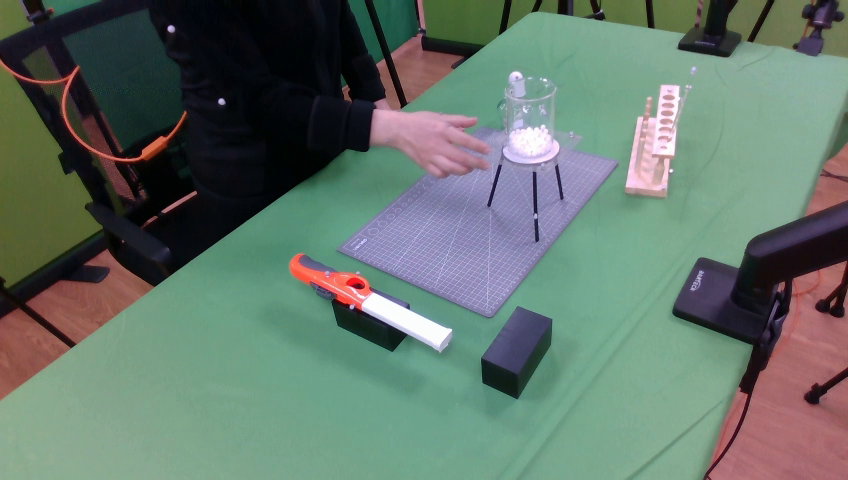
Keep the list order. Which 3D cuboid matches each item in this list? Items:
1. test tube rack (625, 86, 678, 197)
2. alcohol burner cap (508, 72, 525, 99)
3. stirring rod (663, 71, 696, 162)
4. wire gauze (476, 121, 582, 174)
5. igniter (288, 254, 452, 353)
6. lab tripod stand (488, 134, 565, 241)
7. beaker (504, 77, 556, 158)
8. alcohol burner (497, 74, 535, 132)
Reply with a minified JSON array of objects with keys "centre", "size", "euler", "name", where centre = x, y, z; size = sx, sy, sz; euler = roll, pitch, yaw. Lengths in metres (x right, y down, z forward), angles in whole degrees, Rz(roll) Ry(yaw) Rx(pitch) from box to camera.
[{"centre":[0.412,-0.184,1.088],"size":[0.066,0.085,0.242],"euler":[9,43,18],"name":"test tube rack"},{"centre":[0.181,-0.306,1.186],"size":[0.034,0.048,0.033],"euler":[-7,39,6],"name":"alcohol burner cap"},{"centre":[0.410,-0.195,0.981],"size":[0.014,0.177,0.006],"euler":[11,50,13],"name":"stirring rod"},{"centre":[0.162,-0.142,0.929],"size":[0.120,0.011,0.125],"euler":[19,49,32],"name":"wire gauze"},{"centre":[-0.083,0.079,0.818],"size":[0.274,0.025,0.057],"euler":[23,46,27],"name":"igniter"},{"centre":[0.168,-0.092,0.972],"size":[0.148,0.132,0.147],"euler":[-5,41,5],"name":"lab tripod stand"},{"centre":[0.160,-0.181,0.900],"size":[0.084,0.101,0.073],"euler":[-33,46,-27],"name":"beaker"},{"centre":[0.184,-0.278,1.210],"size":[0.078,0.119,0.077],"euler":[-3,42,3],"name":"alcohol burner"}]
